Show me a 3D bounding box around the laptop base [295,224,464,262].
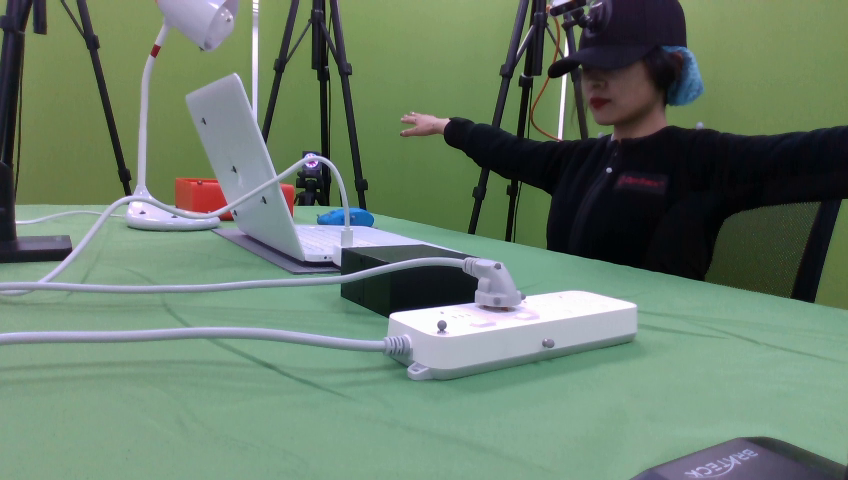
[{"bbox_3d":[-0.127,0.002,0.946,0.237,0.023,0.352,2,6,-30],"label":"laptop base"}]

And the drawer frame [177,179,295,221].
[{"bbox_3d":[-0.422,-0.092,1.352,0.215,0.082,0.200,-3,10,-32],"label":"drawer frame"}]

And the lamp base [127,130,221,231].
[{"bbox_3d":[-0.469,-0.112,1.108,0.179,0.180,0.160,0,7,3],"label":"lamp base"}]

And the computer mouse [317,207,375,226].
[{"bbox_3d":[-0.163,-0.048,1.264,0.118,0.041,0.062,-6,12,-29],"label":"computer mouse"}]

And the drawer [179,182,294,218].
[{"bbox_3d":[-0.420,-0.091,1.354,0.213,0.073,0.193,-3,10,-31],"label":"drawer"}]

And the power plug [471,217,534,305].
[{"bbox_3d":[0.055,0.014,0.454,0.035,0.072,0.052,-22,-1,-40],"label":"power plug"}]

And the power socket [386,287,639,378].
[{"bbox_3d":[0.074,0.064,0.461,0.228,0.032,0.072,-4,8,-34],"label":"power socket"}]

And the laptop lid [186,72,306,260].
[{"bbox_3d":[-0.263,-0.102,0.852,0.013,0.242,0.355,-25,20,-25],"label":"laptop lid"}]

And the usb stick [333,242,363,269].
[{"bbox_3d":[-0.096,0.017,0.743,0.021,0.027,0.059,-4,10,-31],"label":"usb stick"}]

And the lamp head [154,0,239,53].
[{"bbox_3d":[-0.406,-0.402,1.059,0.123,0.112,0.112,25,5,-6],"label":"lamp head"}]
